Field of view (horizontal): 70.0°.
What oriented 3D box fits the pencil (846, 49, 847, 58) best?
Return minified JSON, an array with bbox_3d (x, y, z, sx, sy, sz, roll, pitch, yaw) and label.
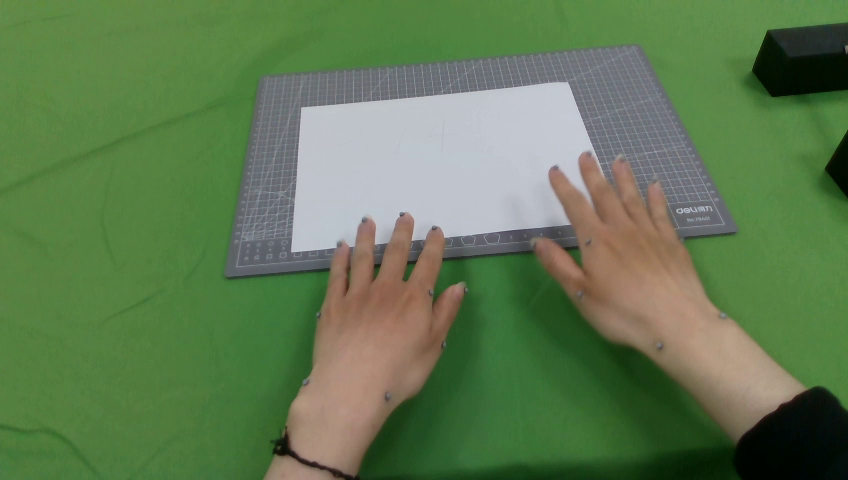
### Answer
[{"bbox_3d":[0.419,-0.125,0.555,0.012,0.012,0.192,3,48,8],"label":"pencil"}]
